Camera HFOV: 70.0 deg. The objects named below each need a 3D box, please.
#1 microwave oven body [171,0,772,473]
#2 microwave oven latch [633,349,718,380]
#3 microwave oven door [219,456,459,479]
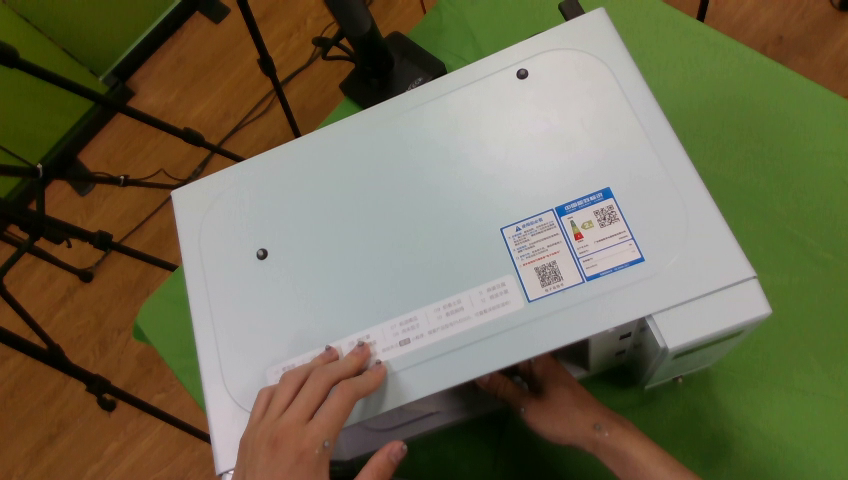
[{"bbox_3d":[0.028,0.026,0.617,0.441,0.262,0.323,-22,67,7],"label":"microwave oven body"},{"bbox_3d":[0.260,0.120,0.629,0.079,0.030,0.030,-20,67,8],"label":"microwave oven latch"},{"bbox_3d":[0.036,0.239,0.531,0.354,0.246,0.039,4,72,15],"label":"microwave oven door"}]
